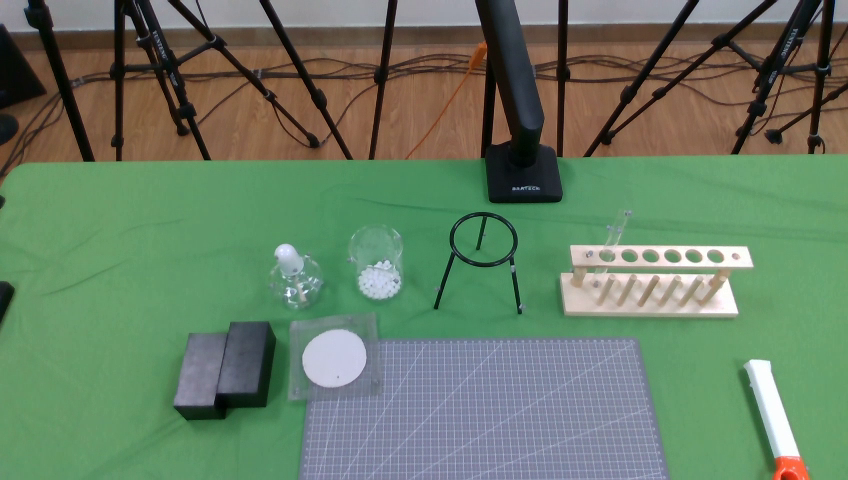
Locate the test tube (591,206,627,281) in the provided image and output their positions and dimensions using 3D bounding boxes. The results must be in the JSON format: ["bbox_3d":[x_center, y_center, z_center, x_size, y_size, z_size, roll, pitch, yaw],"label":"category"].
[{"bbox_3d":[0.249,0.008,0.824,0.017,0.151,0.017,0,51,0],"label":"test tube"}]

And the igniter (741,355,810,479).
[{"bbox_3d":[0.442,0.271,0.737,0.057,0.025,0.274,6,55,-9],"label":"igniter"}]

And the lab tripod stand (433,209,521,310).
[{"bbox_3d":[0.076,0.027,0.842,0.148,0.132,0.147,-1,54,2],"label":"lab tripod stand"}]

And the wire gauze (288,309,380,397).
[{"bbox_3d":[-0.125,0.153,0.827,0.125,0.011,0.120,-5,54,-3],"label":"wire gauze"}]

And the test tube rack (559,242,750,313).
[{"bbox_3d":[0.321,0.054,0.853,0.242,0.086,0.066,0,55,1],"label":"test tube rack"}]

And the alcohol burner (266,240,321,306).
[{"bbox_3d":[-0.184,0.041,0.844,0.078,0.120,0.077,0,53,0],"label":"alcohol burner"}]

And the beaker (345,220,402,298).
[{"bbox_3d":[-0.066,0.033,0.859,0.074,0.101,0.083,-27,60,-17],"label":"beaker"}]

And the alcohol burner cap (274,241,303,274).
[{"bbox_3d":[-0.184,0.021,0.814,0.034,0.048,0.033,-3,59,5],"label":"alcohol burner cap"}]
